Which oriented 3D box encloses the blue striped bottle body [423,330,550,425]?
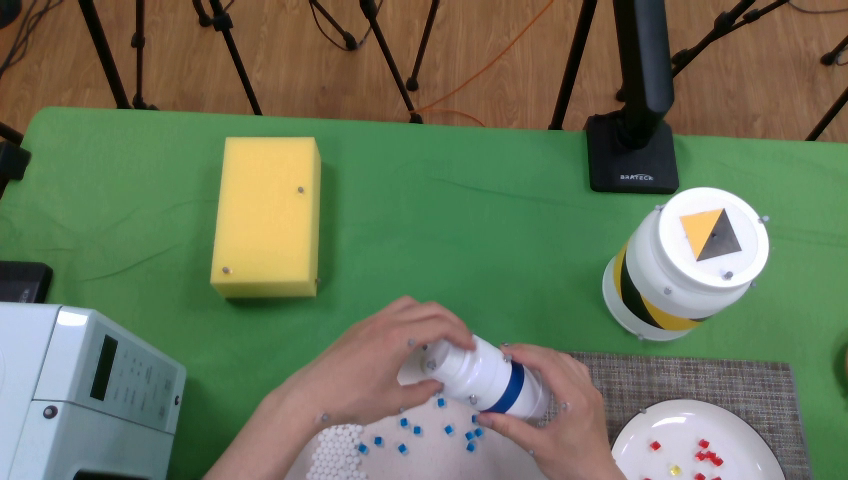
[{"bbox_3d":[0.056,0.126,0.570,0.122,0.063,0.062,30,64,-28],"label":"blue striped bottle body"}]

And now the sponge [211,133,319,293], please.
[{"bbox_3d":[-0.202,-0.037,0.792,0.118,0.061,0.205,-2,68,-2],"label":"sponge"}]

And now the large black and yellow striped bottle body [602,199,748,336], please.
[{"bbox_3d":[0.296,0.029,0.711,0.131,0.185,0.130,0,67,-1],"label":"large black and yellow striped bottle body"}]

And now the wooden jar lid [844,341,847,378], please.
[{"bbox_3d":[0.574,0.160,0.751,0.108,0.021,0.107,0,69,-1],"label":"wooden jar lid"}]

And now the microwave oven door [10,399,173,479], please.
[{"bbox_3d":[-0.309,0.331,0.519,0.039,0.245,0.353,3,67,0],"label":"microwave oven door"}]

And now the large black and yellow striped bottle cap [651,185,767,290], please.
[{"bbox_3d":[0.296,-0.004,0.631,0.115,0.019,0.114,0,66,-1],"label":"large black and yellow striped bottle cap"}]

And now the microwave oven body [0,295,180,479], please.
[{"bbox_3d":[-0.452,0.286,0.540,0.326,0.262,0.438,3,68,0],"label":"microwave oven body"}]

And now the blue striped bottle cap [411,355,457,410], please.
[{"bbox_3d":[0.008,0.121,0.516,0.020,0.045,0.044,35,71,9],"label":"blue striped bottle cap"}]

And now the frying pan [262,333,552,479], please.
[{"bbox_3d":[-0.022,0.340,0.614,0.307,0.103,0.483,2,59,2],"label":"frying pan"}]

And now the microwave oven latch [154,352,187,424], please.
[{"bbox_3d":[-0.295,0.170,0.697,0.030,0.030,0.078,6,68,1],"label":"microwave oven latch"}]

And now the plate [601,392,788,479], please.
[{"bbox_3d":[0.300,0.279,0.682,0.209,0.038,0.207,0,67,-1],"label":"plate"}]
